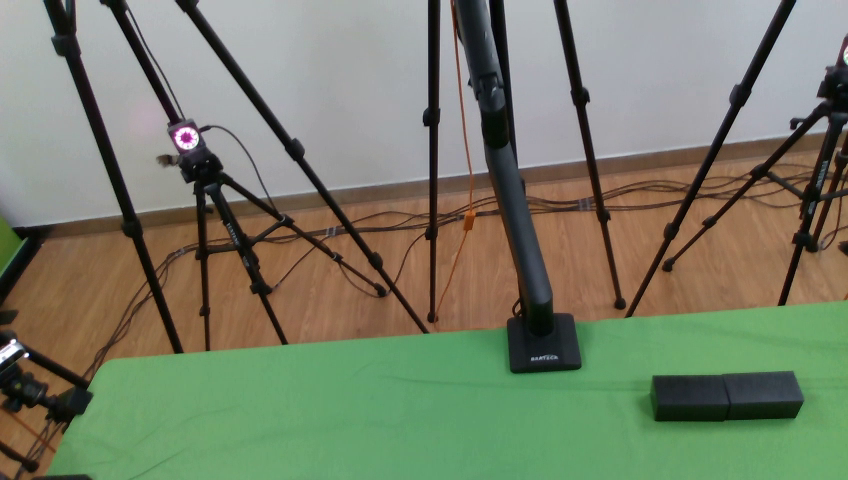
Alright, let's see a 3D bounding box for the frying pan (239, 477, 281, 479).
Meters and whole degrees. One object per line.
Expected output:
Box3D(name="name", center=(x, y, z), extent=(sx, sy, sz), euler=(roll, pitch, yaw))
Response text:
Box3D(name="frying pan", center=(-0.242, 0.532, 0.729), extent=(0.307, 0.104, 0.483), euler=(-10, 35, 4))
